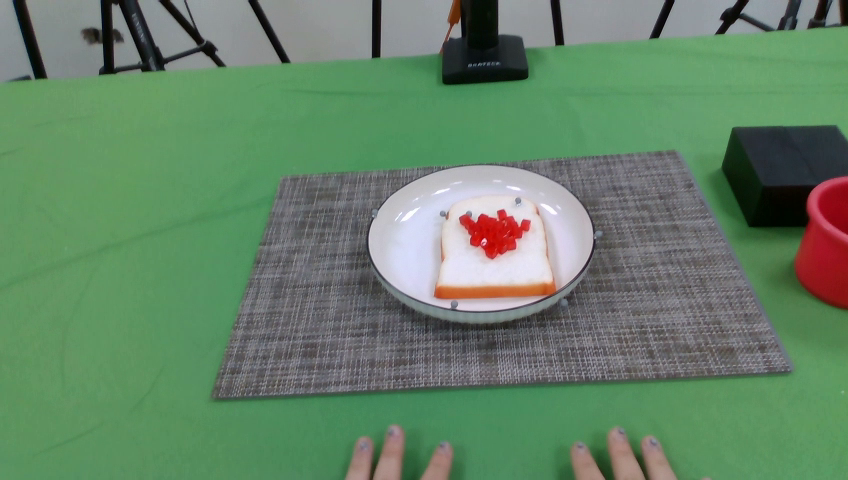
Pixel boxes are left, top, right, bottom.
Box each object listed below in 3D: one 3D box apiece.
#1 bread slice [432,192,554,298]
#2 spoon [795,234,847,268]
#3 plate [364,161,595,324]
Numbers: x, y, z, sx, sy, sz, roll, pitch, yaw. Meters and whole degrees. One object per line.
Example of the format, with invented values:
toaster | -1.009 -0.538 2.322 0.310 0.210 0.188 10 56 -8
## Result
bread slice | 0.062 0.001 0.565 0.105 0.019 0.130 -1 43 4
spoon | 0.389 -0.012 0.463 0.022 0.193 0.041 48 52 -11
plate | 0.049 0.001 0.564 0.209 0.038 0.207 -3 42 4
